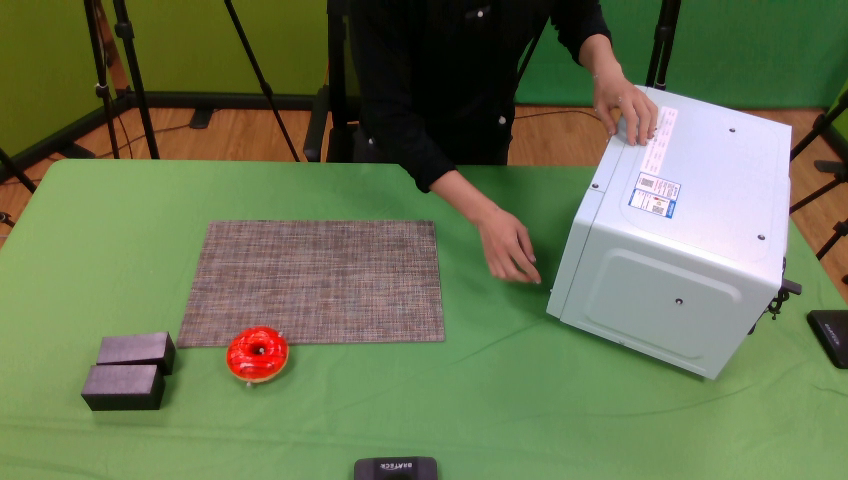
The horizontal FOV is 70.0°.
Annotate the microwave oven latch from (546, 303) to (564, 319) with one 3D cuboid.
[{"bbox_3d":[0.242,0.102,1.081,0.030,0.029,0.079,22,48,17],"label":"microwave oven latch"}]

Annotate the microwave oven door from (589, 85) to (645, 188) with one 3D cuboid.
[{"bbox_3d":[0.342,-0.107,1.149,0.039,0.245,0.354,21,48,15],"label":"microwave oven door"}]

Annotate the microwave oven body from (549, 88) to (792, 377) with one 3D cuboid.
[{"bbox_3d":[0.456,-0.028,1.088,0.325,0.261,0.440,20,47,16],"label":"microwave oven body"}]

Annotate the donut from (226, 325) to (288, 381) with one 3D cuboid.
[{"bbox_3d":[-0.270,0.182,0.984,0.099,0.048,0.098,5,49,-5],"label":"donut"}]
